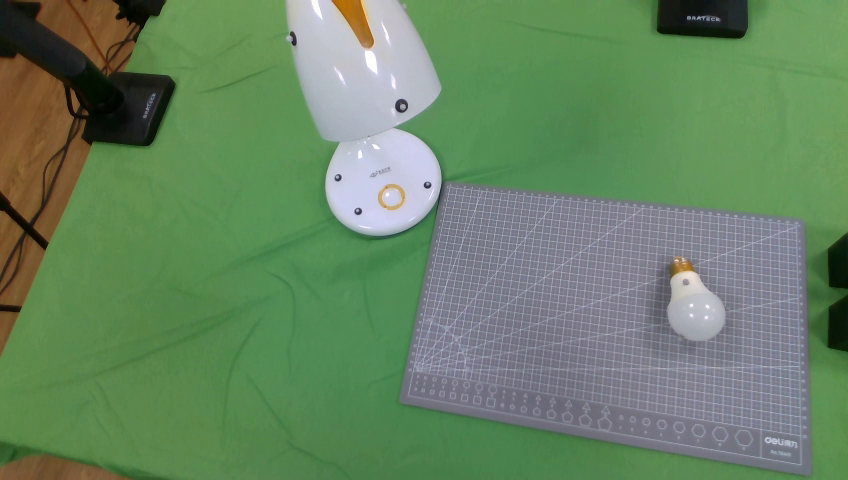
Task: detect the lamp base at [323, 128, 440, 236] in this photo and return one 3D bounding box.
[{"bbox_3d":[-0.075,-0.119,0.756,0.160,0.182,0.177,-32,64,-6],"label":"lamp base"}]

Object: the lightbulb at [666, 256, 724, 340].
[{"bbox_3d":[0.304,0.064,0.697,0.059,0.060,0.106,-6,52,6],"label":"lightbulb"}]

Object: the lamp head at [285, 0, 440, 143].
[{"bbox_3d":[-0.058,-0.156,0.484,0.112,0.124,0.111,-19,27,10],"label":"lamp head"}]
